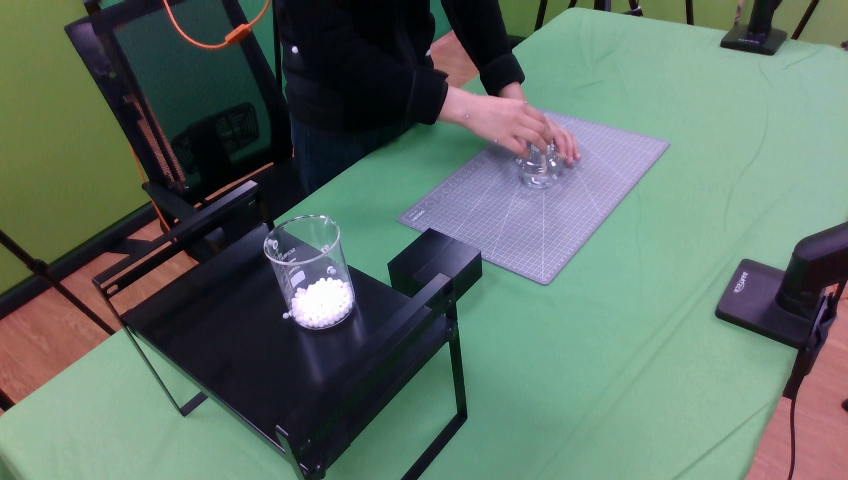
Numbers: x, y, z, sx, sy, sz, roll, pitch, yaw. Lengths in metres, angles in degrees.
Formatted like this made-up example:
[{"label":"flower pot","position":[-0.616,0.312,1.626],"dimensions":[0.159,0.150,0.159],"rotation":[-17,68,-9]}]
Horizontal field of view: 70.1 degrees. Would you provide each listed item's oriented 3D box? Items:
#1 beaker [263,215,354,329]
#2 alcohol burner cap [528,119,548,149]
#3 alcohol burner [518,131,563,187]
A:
[{"label":"beaker","position":[-0.112,0.034,0.616],"dimensions":[0.073,0.101,0.084],"rotation":[13,44,23]},{"label":"alcohol burner cap","position":[0.193,-0.181,1.024],"dimensions":[0.034,0.048,0.033],"rotation":[-3,37,3]},{"label":"alcohol burner","position":[0.202,-0.151,1.046],"dimensions":[0.078,0.119,0.077],"rotation":[-6,42,6]}]
